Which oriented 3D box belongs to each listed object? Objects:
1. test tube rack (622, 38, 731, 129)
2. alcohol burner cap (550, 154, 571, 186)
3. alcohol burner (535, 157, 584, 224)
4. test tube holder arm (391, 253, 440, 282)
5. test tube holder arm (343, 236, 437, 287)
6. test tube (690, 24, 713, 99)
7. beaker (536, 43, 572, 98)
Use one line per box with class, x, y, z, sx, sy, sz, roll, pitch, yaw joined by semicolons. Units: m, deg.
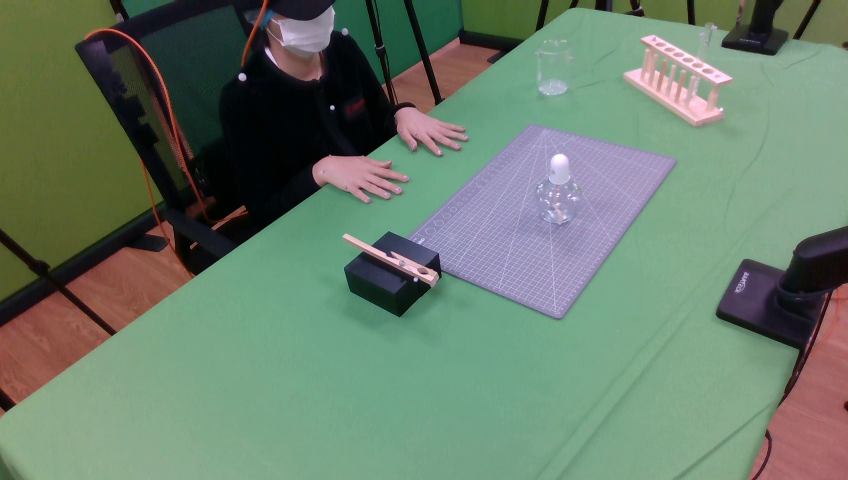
test tube rack;0.506;-0.325;1.234;0.067;0.085;0.240;-18;41;-11
alcohol burner cap;0.212;-0.112;0.944;0.034;0.048;0.033;-6;44;7
alcohol burner;0.217;-0.085;0.967;0.078;0.119;0.077;-3;41;3
test tube holder arm;-0.015;0.039;0.858;0.087;0.015;0.010;22;57;32
test tube holder arm;-0.053;0.028;0.879;0.177;0.015;0.013;22;57;32
test tube;0.534;-0.342;1.172;0.017;0.151;0.017;-3;41;3
beaker;0.280;-0.368;1.311;0.074;0.101;0.084;4;41;14
